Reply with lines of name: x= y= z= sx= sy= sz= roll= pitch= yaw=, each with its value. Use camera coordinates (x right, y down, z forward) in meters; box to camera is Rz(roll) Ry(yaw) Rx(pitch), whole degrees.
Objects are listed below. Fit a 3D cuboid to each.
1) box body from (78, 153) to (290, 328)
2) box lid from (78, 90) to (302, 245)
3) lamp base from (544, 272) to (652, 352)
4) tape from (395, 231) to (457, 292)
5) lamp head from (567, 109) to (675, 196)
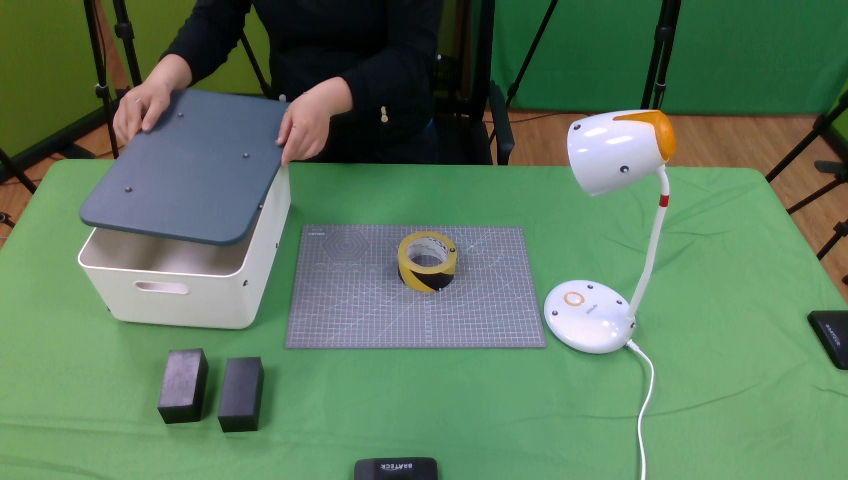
box body: x=-0.400 y=-0.026 z=1.095 sx=0.254 sy=0.161 sz=0.362 roll=4 pitch=46 yaw=0
box lid: x=-0.380 y=-0.137 z=1.033 sx=0.263 sy=0.015 sz=0.369 roll=8 pitch=47 yaw=3
lamp base: x=0.310 y=0.086 z=1.029 sx=0.178 sy=0.181 sz=0.160 roll=32 pitch=52 yaw=21
tape: x=0.005 y=0.039 z=1.136 sx=0.117 sy=0.053 sz=0.116 roll=2 pitch=46 yaw=-2
lamp head: x=0.272 y=-0.123 z=0.818 sx=0.122 sy=0.113 sz=0.112 roll=-9 pitch=35 yaw=37
